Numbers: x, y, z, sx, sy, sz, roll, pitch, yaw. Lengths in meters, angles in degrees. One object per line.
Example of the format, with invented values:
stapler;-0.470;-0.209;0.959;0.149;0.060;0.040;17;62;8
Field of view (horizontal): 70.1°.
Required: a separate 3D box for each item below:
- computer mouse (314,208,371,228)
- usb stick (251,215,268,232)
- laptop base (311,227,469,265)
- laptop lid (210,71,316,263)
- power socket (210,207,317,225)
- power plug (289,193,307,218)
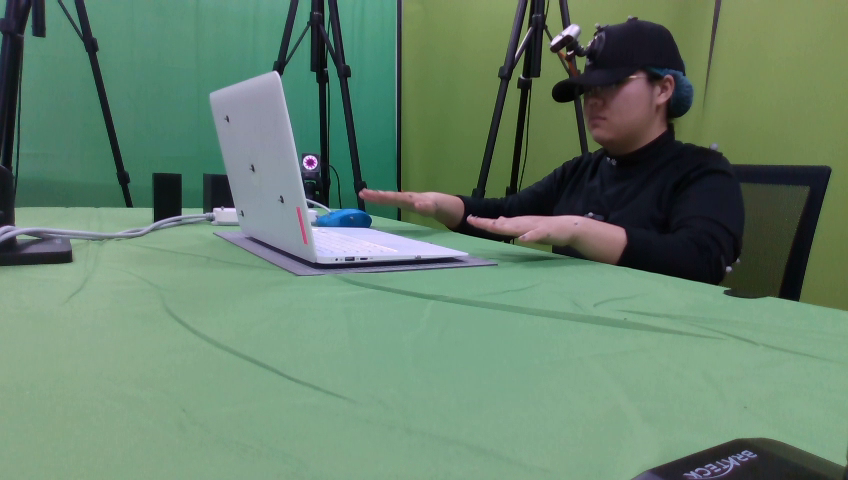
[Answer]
computer mouse;-0.173;-0.046;1.284;0.118;0.041;0.062;-7;13;-30
usb stick;-0.290;-0.028;1.070;0.021;0.027;0.059;-2;12;-29
laptop base;-0.123;0.007;0.952;0.237;0.023;0.352;2;6;-32
laptop lid;-0.240;-0.104;0.861;0.013;0.241;0.355;-16;17;-29
power socket;-0.335;-0.051;1.281;0.228;0.032;0.072;-1;8;-28
power plug;-0.281;-0.076;1.340;0.035;0.052;0.072;3;6;-18
